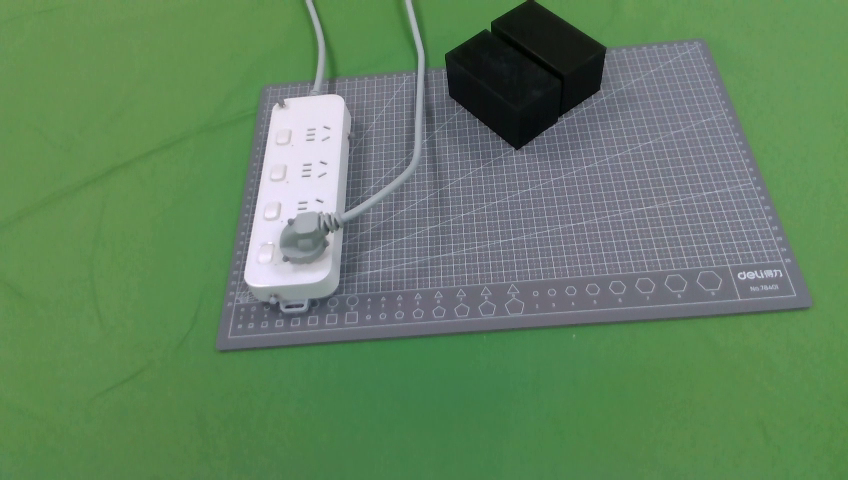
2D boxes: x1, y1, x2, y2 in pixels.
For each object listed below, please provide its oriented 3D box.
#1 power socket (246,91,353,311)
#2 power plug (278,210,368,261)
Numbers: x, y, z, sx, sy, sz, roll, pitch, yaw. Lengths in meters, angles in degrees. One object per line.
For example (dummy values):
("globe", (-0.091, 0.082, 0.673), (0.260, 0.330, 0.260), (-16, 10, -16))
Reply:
("power socket", (-0.104, -0.046, 0.532), (0.072, 0.033, 0.224), (-3, 57, 5))
("power plug", (-0.078, 0.002, 0.469), (0.072, 0.053, 0.035), (6, 58, 11))
